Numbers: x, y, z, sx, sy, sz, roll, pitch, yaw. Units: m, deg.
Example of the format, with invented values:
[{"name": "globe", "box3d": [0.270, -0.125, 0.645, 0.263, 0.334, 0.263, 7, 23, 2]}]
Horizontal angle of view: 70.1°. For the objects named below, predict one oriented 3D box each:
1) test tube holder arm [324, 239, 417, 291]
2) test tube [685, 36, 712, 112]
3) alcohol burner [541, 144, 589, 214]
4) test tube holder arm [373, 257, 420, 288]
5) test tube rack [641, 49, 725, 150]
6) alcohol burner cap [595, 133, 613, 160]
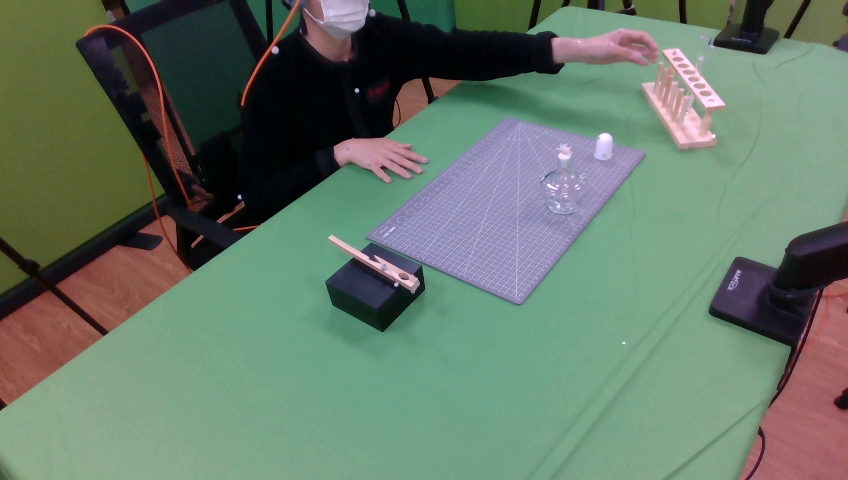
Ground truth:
[{"name": "test tube holder arm", "box3d": [-0.081, 0.034, 0.874, 0.177, 0.015, 0.013, 22, 47, 31]}, {"name": "test tube", "box3d": [0.509, -0.307, 1.129, 0.017, 0.151, 0.017, -1, 42, 2]}, {"name": "alcohol burner", "box3d": [0.229, -0.102, 0.983, 0.078, 0.119, 0.077, -6, 41, 5]}, {"name": "test tube holder arm", "box3d": [-0.042, 0.046, 0.854, 0.087, 0.015, 0.010, 24, 48, 32]}, {"name": "test tube rack", "box3d": [0.495, -0.279, 1.175, 0.067, 0.085, 0.241, -5, 41, 3]}, {"name": "alcohol burner cap", "box3d": [0.330, -0.172, 1.104, 0.034, 0.048, 0.033, -5, 41, 5]}]
